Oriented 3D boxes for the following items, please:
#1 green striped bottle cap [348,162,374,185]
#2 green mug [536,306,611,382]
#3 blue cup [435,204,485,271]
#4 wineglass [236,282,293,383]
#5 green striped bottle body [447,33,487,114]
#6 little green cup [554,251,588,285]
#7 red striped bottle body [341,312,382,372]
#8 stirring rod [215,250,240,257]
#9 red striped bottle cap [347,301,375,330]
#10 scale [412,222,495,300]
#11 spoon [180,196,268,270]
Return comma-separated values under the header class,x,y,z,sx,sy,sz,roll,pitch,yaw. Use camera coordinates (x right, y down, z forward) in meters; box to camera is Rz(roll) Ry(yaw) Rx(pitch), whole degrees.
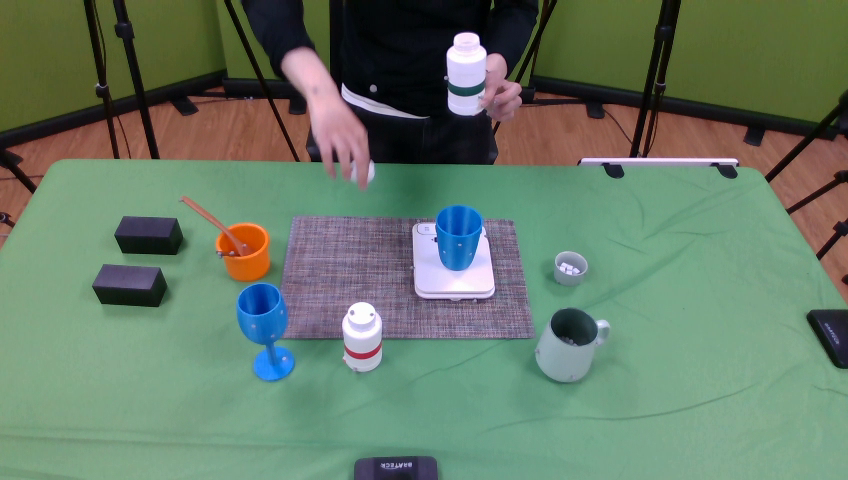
class,x,y,z,sx,sy,sz,roll,pitch,yaw
green striped bottle cap,-0.111,-0.116,1.060,0.044,0.020,0.044,-2,45,2
green mug,0.250,0.167,0.996,0.125,0.105,0.092,-15,49,-18
blue cup,0.060,0.001,1.097,0.092,0.101,0.092,1,43,-1
wineglass,-0.243,0.143,0.934,0.074,0.173,0.073,2,46,-2
green striped bottle body,0.069,-0.269,0.976,0.063,0.120,0.063,-2,44,2
little green cup,0.276,0.055,1.151,0.061,0.039,0.061,1,46,-1
red striped bottle body,-0.100,0.154,0.972,0.063,0.120,0.062,2,46,-1
stirring rod,-0.340,0.024,1.059,0.014,0.176,0.006,16,86,-6
red striped bottle cap,-0.097,0.116,0.934,0.044,0.018,0.044,2,49,-3
scale,0.052,0.031,1.158,0.149,0.032,0.199,1,46,-4
spoon,-0.359,-0.014,1.094,0.021,0.194,0.041,-28,26,31
